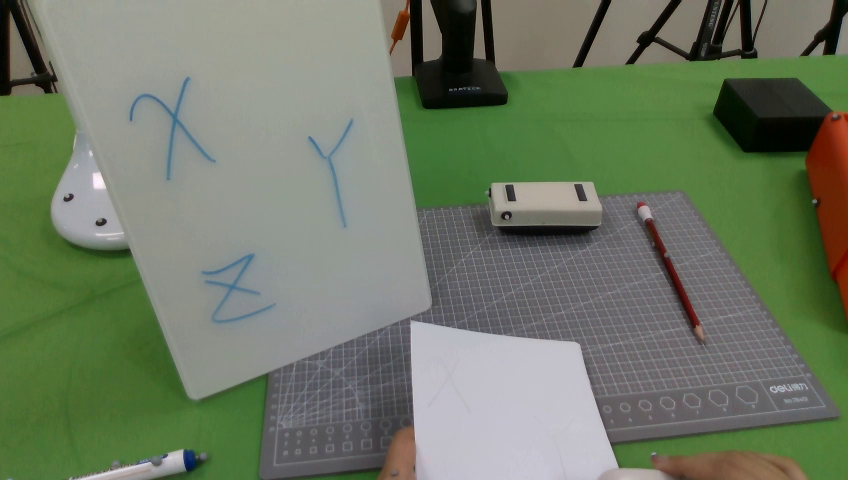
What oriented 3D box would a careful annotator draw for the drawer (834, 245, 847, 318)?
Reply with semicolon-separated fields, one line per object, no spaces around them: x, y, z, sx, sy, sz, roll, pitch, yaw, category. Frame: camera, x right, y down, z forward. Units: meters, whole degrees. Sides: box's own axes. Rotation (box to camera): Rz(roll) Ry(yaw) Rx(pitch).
0.497;0.009;0.566;0.194;0.074;0.210;11;42;13;drawer

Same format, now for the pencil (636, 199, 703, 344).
0.239;0.024;0.595;0.012;0.012;0.192;-1;44;-1;pencil

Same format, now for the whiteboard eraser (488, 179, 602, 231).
0.125;-0.036;0.635;0.113;0.042;0.055;0;43;-1;whiteboard eraser

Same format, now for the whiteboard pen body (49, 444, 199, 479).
-0.232;0.168;0.424;0.141;0.017;0.017;-11;43;-12;whiteboard pen body

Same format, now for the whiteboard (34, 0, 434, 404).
-0.138;-0.062;0.508;0.218;0.307;0.142;-19;26;-19;whiteboard

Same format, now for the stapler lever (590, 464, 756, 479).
0.167;0.164;0.393;0.118;0.040;0.026;1;45;-3;stapler lever

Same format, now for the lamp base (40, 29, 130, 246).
-0.324;-0.111;0.610;0.178;0.182;0.160;23;46;27;lamp base

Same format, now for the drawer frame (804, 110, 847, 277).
0.517;-0.035;0.614;0.201;0.083;0.212;12;42;13;drawer frame
